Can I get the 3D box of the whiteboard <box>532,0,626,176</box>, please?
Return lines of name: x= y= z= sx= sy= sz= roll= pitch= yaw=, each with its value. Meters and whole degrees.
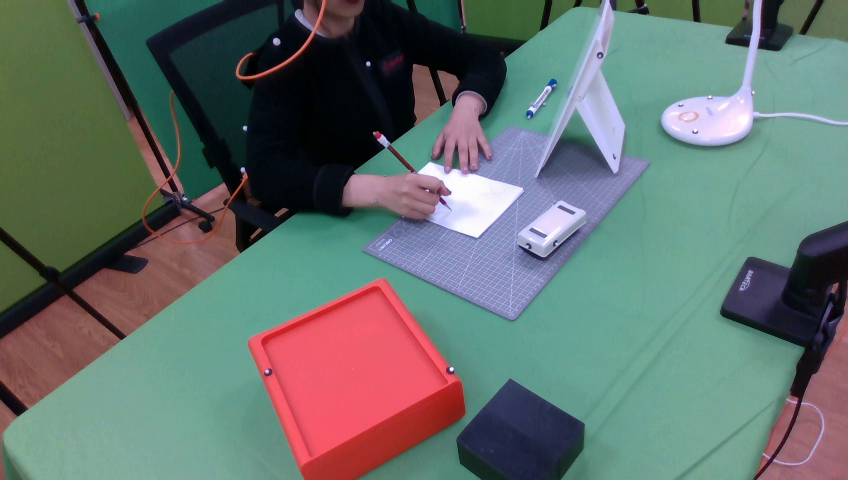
whiteboard: x=0.321 y=-0.258 z=1.050 sx=0.144 sy=0.306 sz=0.217 roll=21 pitch=45 yaw=5

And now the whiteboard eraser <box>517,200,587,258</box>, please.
whiteboard eraser: x=0.200 y=-0.016 z=0.943 sx=0.113 sy=0.042 sz=0.055 roll=-37 pitch=46 yaw=-29

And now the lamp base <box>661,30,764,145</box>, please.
lamp base: x=0.535 y=-0.287 z=1.096 sx=0.179 sy=0.181 sz=0.159 roll=-10 pitch=40 yaw=-4

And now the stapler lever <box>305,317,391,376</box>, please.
stapler lever: x=-0.099 y=0.137 z=0.789 sx=0.118 sy=0.040 sz=0.026 roll=-22 pitch=45 yaw=-12

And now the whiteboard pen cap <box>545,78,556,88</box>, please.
whiteboard pen cap: x=0.280 y=-0.344 z=1.335 sx=0.018 sy=0.018 sz=0.033 roll=15 pitch=44 yaw=26

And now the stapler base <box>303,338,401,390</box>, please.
stapler base: x=-0.096 y=0.159 z=0.812 sx=0.131 sy=0.024 sz=0.041 roll=-17 pitch=44 yaw=-17

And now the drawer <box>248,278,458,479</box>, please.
drawer: x=-0.092 y=0.167 z=0.756 sx=0.195 sy=0.073 sz=0.210 roll=-24 pitch=43 yaw=-18

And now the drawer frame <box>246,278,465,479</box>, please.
drawer frame: x=-0.088 y=0.168 z=0.752 sx=0.202 sy=0.083 sz=0.211 roll=-24 pitch=43 yaw=-18

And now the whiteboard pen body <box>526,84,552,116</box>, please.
whiteboard pen body: x=0.251 y=-0.305 z=1.298 sx=0.017 sy=0.017 sz=0.141 roll=15 pitch=45 yaw=26

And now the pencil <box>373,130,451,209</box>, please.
pencil: x=-0.016 y=-0.112 z=0.997 sx=0.012 sy=0.195 sz=0.012 roll=-32 pitch=32 yaw=24
